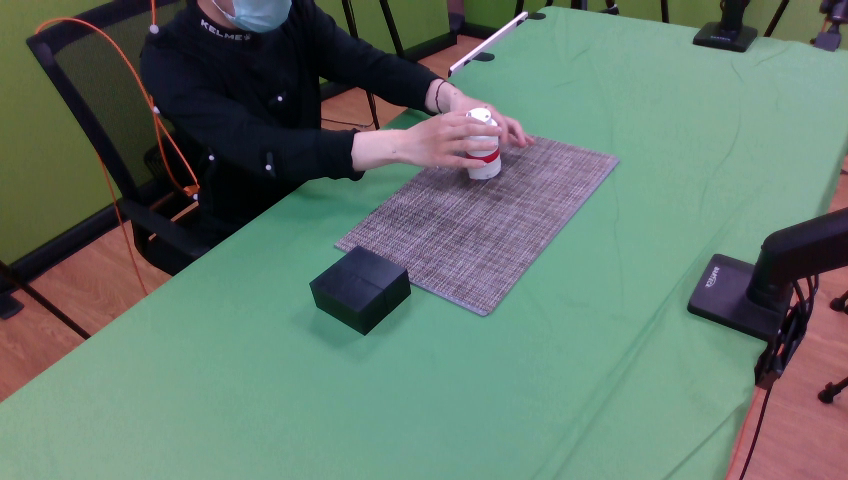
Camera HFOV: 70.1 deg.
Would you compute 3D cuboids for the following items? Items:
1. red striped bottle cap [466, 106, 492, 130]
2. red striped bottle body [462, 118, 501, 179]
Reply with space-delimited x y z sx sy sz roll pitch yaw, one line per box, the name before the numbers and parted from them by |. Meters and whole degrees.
red striped bottle cap | 0.093 -0.207 1.027 0.044 0.018 0.044 -6 52 8
red striped bottle body | 0.101 -0.171 1.066 0.063 0.120 0.062 -6 48 7
